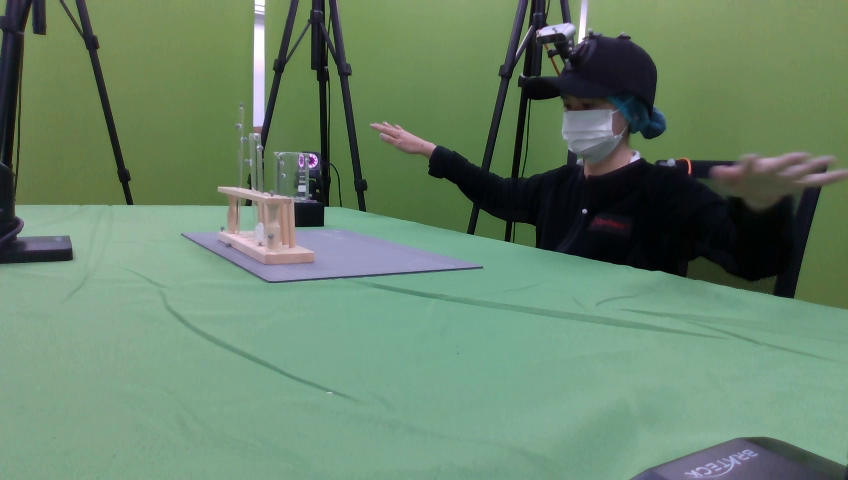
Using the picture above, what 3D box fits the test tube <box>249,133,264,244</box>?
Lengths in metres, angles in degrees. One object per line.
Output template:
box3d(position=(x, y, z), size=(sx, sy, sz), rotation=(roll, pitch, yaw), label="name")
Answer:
box3d(position=(-0.228, -0.070, 0.824), size=(0.017, 0.150, 0.017), rotation=(-1, 4, 0), label="test tube")

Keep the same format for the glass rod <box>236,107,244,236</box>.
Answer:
box3d(position=(-0.282, -0.102, 0.924), size=(0.008, 0.199, 0.008), rotation=(2, 2, 0), label="glass rod")

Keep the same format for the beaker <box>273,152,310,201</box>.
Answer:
box3d(position=(-0.277, -0.131, 1.249), size=(0.073, 0.100, 0.084), rotation=(6, 8, 26), label="beaker")

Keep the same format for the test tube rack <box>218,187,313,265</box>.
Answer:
box3d(position=(-0.235, -0.027, 0.872), size=(0.067, 0.085, 0.241), rotation=(-2, 8, -32), label="test tube rack")
